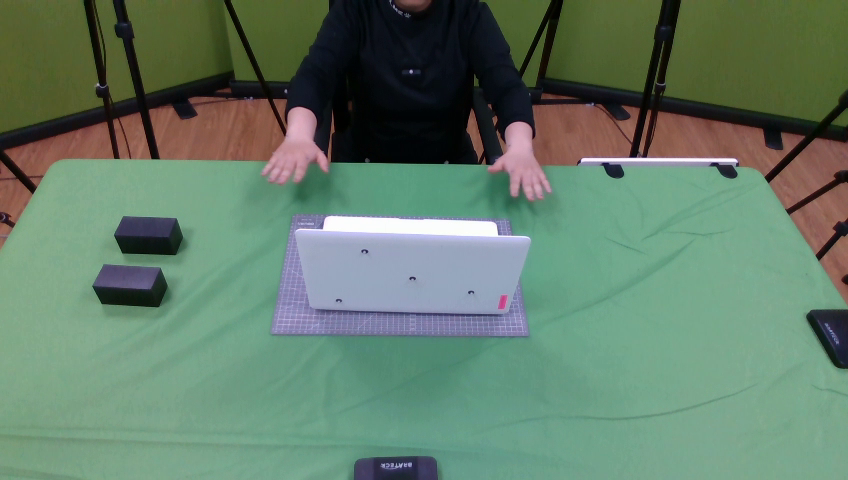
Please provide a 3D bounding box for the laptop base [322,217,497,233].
[{"bbox_3d":[-0.028,0.045,1.154,0.354,0.023,0.234,2,43,-3],"label":"laptop base"}]

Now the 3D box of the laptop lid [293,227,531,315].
[{"bbox_3d":[-0.021,0.058,0.975,0.357,0.243,0.013,3,53,-4],"label":"laptop lid"}]
